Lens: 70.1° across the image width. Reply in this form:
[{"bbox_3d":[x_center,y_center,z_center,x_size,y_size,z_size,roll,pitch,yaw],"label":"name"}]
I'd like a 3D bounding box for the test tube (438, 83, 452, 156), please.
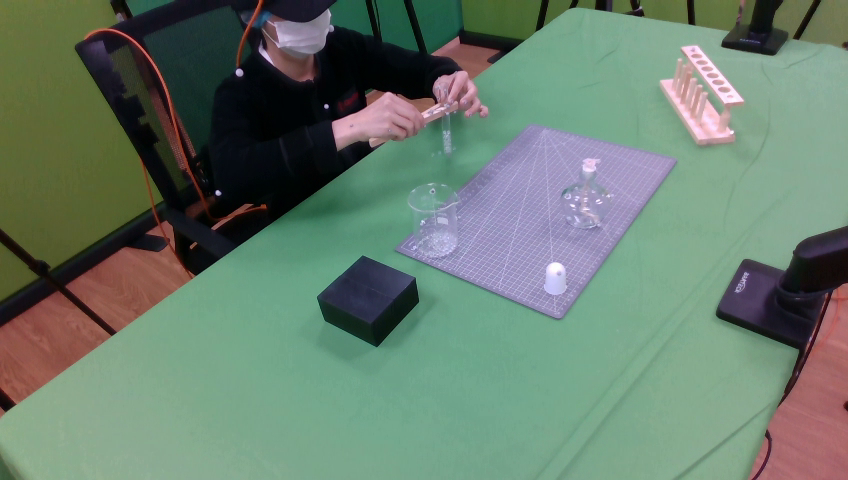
[{"bbox_3d":[0.038,-0.210,1.070,0.017,0.151,0.017,-3,46,4],"label":"test tube"}]

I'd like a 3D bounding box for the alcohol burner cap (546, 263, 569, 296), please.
[{"bbox_3d":[0.191,0.053,0.862,0.034,0.048,0.033,-5,40,4],"label":"alcohol burner cap"}]

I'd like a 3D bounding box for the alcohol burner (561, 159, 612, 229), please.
[{"bbox_3d":[0.257,-0.077,0.951,0.078,0.119,0.077,-3,40,3],"label":"alcohol burner"}]

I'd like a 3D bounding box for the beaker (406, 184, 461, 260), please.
[{"bbox_3d":[0.019,-0.026,0.939,0.084,0.101,0.074,1,41,9],"label":"beaker"}]

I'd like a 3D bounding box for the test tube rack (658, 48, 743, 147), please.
[{"bbox_3d":[0.532,-0.284,1.181,0.067,0.085,0.241,-5,40,4],"label":"test tube rack"}]

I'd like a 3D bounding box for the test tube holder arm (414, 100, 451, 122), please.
[{"bbox_3d":[0.015,-0.217,1.043,0.010,0.015,0.088,24,49,36],"label":"test tube holder arm"}]

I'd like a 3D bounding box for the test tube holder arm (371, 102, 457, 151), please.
[{"bbox_3d":[-0.014,-0.193,1.019,0.179,0.015,0.013,-32,42,-26],"label":"test tube holder arm"}]
